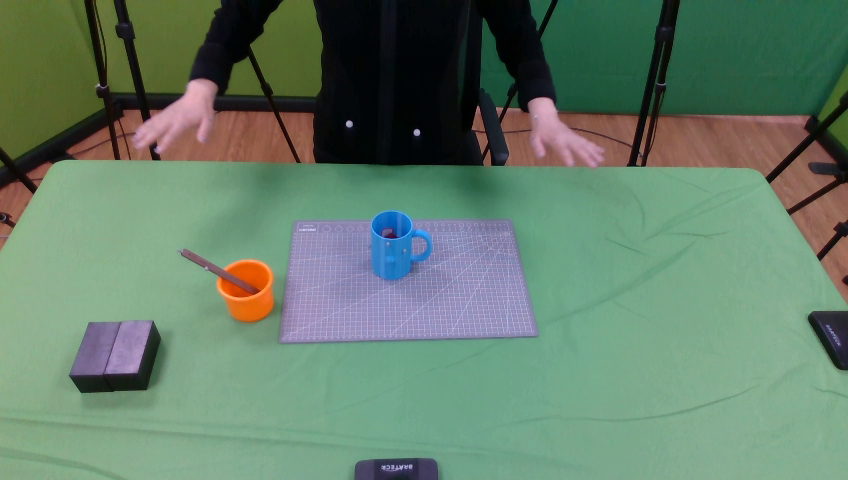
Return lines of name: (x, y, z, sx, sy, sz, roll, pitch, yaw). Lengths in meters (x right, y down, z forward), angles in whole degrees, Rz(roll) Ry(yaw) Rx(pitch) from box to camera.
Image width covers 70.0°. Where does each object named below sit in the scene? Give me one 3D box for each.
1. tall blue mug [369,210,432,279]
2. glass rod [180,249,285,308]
tall blue mug: (-0.049, 0.005, 1.125, 0.107, 0.108, 0.077, -19, 50, -21)
glass rod: (-0.322, 0.068, 1.028, 0.200, 0.008, 0.008, 34, 40, -25)
